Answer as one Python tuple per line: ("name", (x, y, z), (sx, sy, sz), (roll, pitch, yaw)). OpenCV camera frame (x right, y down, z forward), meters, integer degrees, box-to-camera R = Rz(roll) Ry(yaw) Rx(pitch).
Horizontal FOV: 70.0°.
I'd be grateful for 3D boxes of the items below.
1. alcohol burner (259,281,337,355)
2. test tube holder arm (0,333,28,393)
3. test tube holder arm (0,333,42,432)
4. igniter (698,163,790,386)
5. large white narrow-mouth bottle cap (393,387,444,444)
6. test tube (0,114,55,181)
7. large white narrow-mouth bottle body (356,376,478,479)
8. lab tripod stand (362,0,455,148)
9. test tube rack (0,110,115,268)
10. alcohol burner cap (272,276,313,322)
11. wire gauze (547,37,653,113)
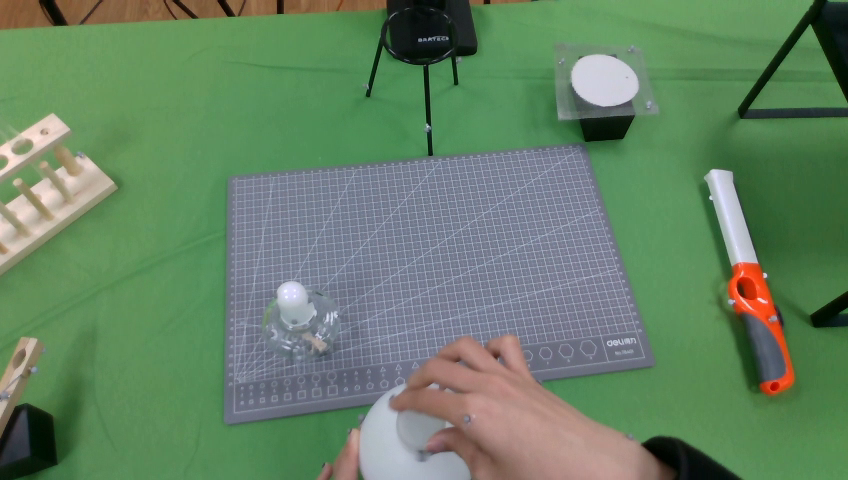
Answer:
("alcohol burner", (-0.126, 0.070, 0.600), (0.078, 0.120, 0.077), (2, 61, -3))
("test tube holder arm", (-0.387, 0.129, 0.562), (0.010, 0.015, 0.087), (4, 63, 6))
("test tube holder arm", (-0.387, 0.169, 0.541), (0.013, 0.015, 0.177), (5, 63, 7))
("igniter", (0.362, 0.031, 0.692), (0.057, 0.025, 0.274), (4, 62, -12))
("large white narrow-mouth bottle cap", (-0.004, 0.123, 0.427), (0.038, 0.024, 0.037), (1, 62, -1))
("test tube", (-0.438, -0.110, 0.642), (0.017, 0.151, 0.017), (0, 61, 1))
("large white narrow-mouth bottle body", (-0.007, 0.170, 0.511), (0.102, 0.196, 0.101), (1, 62, -1))
("lab tripod stand", (-0.010, -0.208, 0.741), (0.148, 0.132, 0.147), (2, 63, -3))
("test tube rack", (-0.473, -0.027, 0.654), (0.066, 0.086, 0.242), (39, 67, 16))
("alcohol burner cap", (-0.125, 0.053, 0.567), (0.034, 0.048, 0.033), (0, 58, 1))
("wire gauze", (0.219, -0.210, 0.766), (0.121, 0.011, 0.124), (1, 62, -2))
